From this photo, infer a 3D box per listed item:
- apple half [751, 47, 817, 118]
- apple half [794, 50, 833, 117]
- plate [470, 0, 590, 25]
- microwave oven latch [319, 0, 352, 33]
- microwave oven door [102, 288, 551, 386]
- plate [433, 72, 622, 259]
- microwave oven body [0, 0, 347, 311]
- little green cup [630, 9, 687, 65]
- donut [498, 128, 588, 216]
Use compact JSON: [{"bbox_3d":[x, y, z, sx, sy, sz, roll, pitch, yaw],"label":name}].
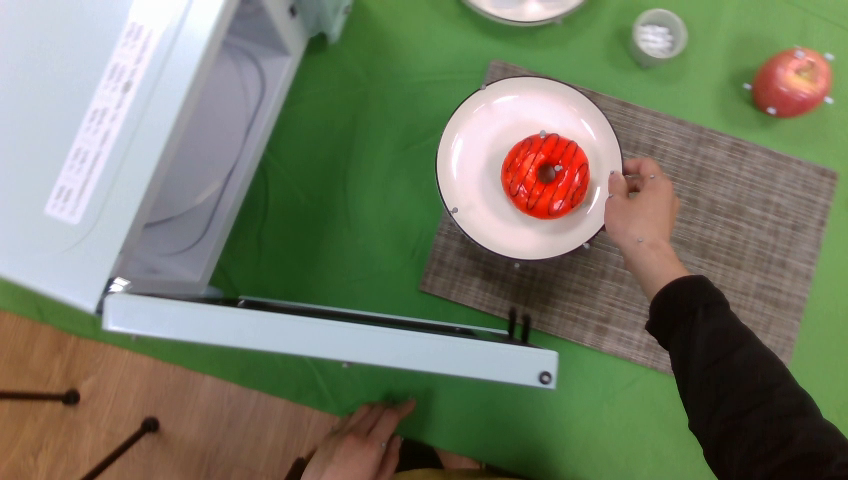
[{"bbox_3d":[0.422,-0.188,0.722,0.053,0.075,0.080,10,89,5],"label":"apple half"},{"bbox_3d":[0.461,-0.182,0.721,0.033,0.081,0.081,10,85,5],"label":"apple half"},{"bbox_3d":[0.127,-0.360,0.744,0.208,0.039,0.207,0,85,-1],"label":"plate"},{"bbox_3d":[-0.100,-0.288,0.714,0.030,0.029,0.079,24,86,0],"label":"microwave oven latch"},{"bbox_3d":[-0.075,0.087,0.585,0.356,0.244,0.039,8,84,-1],"label":"microwave oven door"},{"bbox_3d":[0.113,-0.081,0.677,0.209,0.038,0.208,0,84,-1],"label":"plate"},{"bbox_3d":[-0.301,-0.186,0.604,0.326,0.260,0.441,22,86,0],"label":"microwave oven body"},{"bbox_3d":[0.283,-0.245,0.740,0.061,0.038,0.061,0,85,-1],"label":"little green cup"},{"bbox_3d":[0.130,-0.074,0.666,0.099,0.048,0.099,0,86,0],"label":"donut"}]
